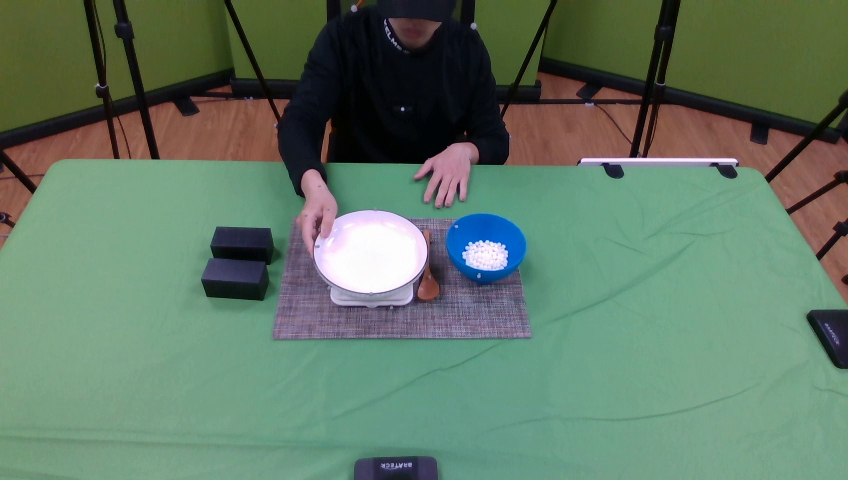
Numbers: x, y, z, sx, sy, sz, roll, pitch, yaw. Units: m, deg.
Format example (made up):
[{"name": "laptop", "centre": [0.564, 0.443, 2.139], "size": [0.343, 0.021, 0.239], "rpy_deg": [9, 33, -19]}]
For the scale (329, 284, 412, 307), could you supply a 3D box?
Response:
[{"name": "scale", "centre": [-0.098, 0.042, 1.140], "size": [0.149, 0.032, 0.199], "rpy_deg": [1, 46, -4]}]

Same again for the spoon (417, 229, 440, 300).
[{"name": "spoon", "centre": [0.006, 0.043, 1.152], "size": [0.041, 0.022, 0.192], "rpy_deg": [-9, 45, 7]}]

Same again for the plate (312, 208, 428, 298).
[{"name": "plate", "centre": [-0.097, 0.027, 1.096], "size": [0.209, 0.038, 0.208], "rpy_deg": [3, 46, -2]}]

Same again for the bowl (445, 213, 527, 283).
[{"name": "bowl", "centre": [0.112, 0.027, 1.136], "size": [0.151, 0.077, 0.150], "rpy_deg": [2, 46, -2]}]
